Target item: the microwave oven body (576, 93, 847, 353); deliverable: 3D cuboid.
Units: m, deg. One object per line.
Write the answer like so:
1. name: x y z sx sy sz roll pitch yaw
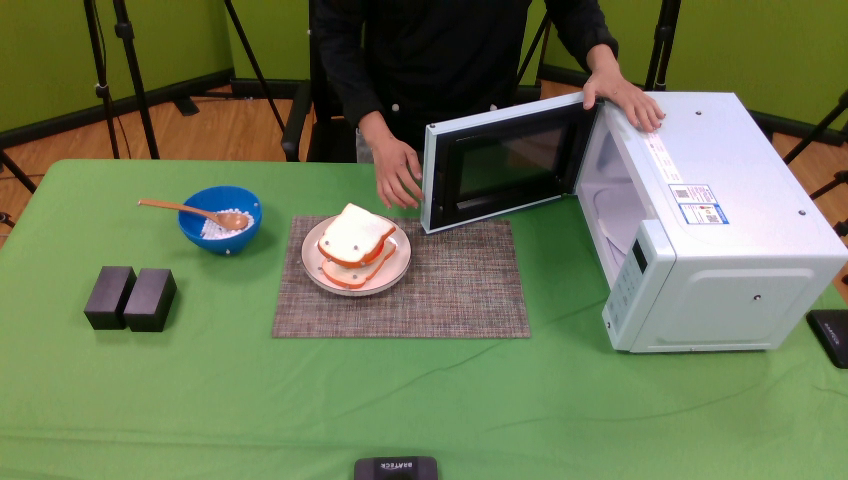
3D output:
1. microwave oven body: 0.475 -0.041 1.109 0.326 0.261 0.438 -1 45 -4

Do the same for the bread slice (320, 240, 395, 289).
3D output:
1. bread slice: -0.129 0.036 1.140 0.107 0.018 0.134 19 48 14

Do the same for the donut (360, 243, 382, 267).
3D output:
1. donut: -0.126 0.011 1.127 0.099 0.048 0.098 3 44 -3

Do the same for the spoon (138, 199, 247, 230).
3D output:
1. spoon: -0.431 -0.053 1.135 0.194 0.022 0.041 15 47 -20

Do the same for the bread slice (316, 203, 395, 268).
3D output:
1. bread slice: -0.129 -0.006 1.100 0.104 0.019 0.131 27 52 13

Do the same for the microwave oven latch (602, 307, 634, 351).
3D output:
1. microwave oven latch: 0.332 0.153 1.044 0.030 0.029 0.078 0 45 -4

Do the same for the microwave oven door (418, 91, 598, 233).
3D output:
1. microwave oven door: 0.162 -0.153 1.187 0.356 0.245 0.039 -15 49 -18

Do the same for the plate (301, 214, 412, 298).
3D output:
1. plate: -0.126 0.031 1.146 0.208 0.039 0.206 2 46 -2

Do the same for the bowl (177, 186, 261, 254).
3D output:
1. bowl: -0.383 -0.026 1.158 0.151 0.077 0.150 2 46 -2
